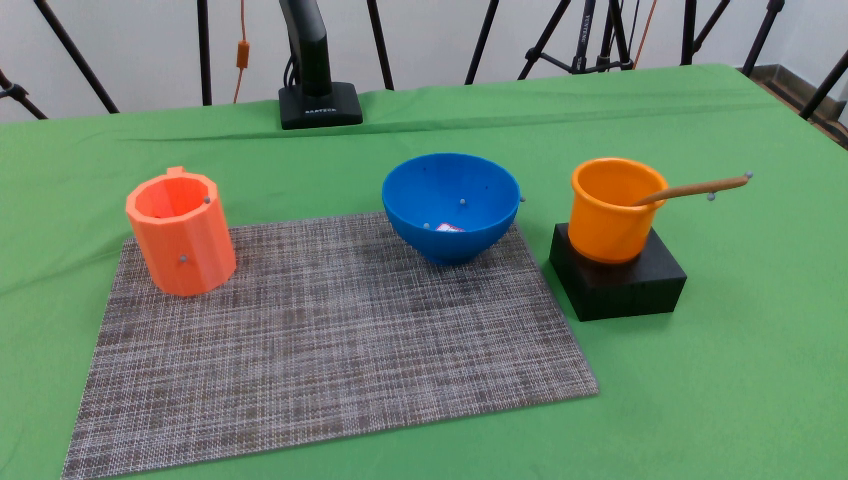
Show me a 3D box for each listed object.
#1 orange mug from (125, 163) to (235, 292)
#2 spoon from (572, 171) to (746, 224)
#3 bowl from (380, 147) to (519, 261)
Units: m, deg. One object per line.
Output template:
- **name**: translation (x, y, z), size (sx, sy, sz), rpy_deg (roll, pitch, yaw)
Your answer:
- **orange mug**: translation (-0.254, -0.022, 0.638), size (0.083, 0.101, 0.124), rpy_deg (-11, 47, -14)
- **spoon**: translation (0.207, -0.039, 0.561), size (0.041, 0.193, 0.021), rpy_deg (-26, 91, -27)
- **bowl**: translation (0.027, -0.030, 0.671), size (0.151, 0.077, 0.150), rpy_deg (1, 40, 0)
